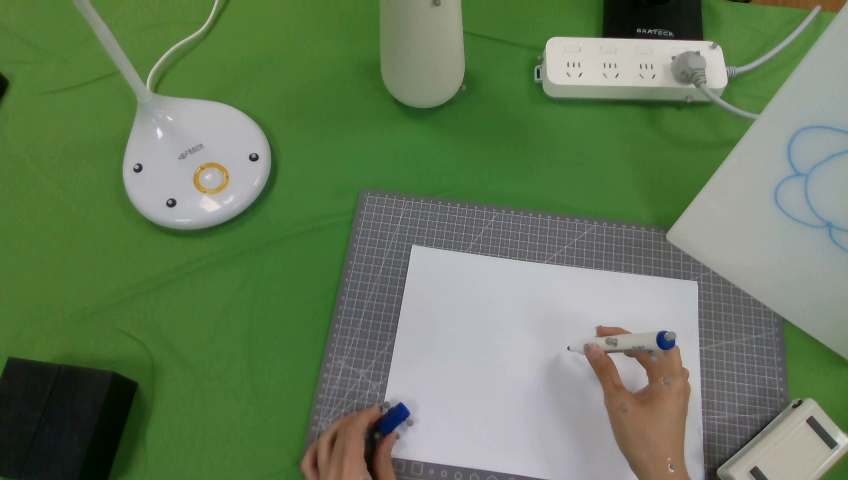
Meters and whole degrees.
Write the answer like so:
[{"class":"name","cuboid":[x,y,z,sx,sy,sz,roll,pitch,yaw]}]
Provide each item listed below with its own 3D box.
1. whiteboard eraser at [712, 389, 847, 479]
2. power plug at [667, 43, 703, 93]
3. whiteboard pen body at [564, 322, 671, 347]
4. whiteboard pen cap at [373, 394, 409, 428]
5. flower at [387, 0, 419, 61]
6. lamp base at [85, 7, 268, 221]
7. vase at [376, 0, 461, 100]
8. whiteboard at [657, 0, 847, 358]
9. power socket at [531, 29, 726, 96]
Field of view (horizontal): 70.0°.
[{"class":"whiteboard eraser","cuboid":[0.316,0.187,0.543,0.112,0.042,0.055,-34,70,-13]},{"class":"power plug","cuboid":[0.291,-0.189,0.684,0.035,0.053,0.072,12,74,5]},{"class":"whiteboard pen body","cuboid":[0.161,0.084,0.526,0.017,0.140,0.017,4,77,-19]},{"class":"whiteboard pen cap","cuboid":[-0.030,0.160,0.566,0.033,0.018,0.018,-36,71,-23]},{"class":"flower","cuboid":[0.010,-0.261,0.561,0.044,0.362,0.038,-34,88,-22]},{"class":"lamp base","cuboid":[-0.265,-0.131,0.606,0.178,0.181,0.160,39,72,18]},{"class":"vase","cuboid":[-0.008,-0.238,0.640,0.098,0.201,0.097,-1,66,2]},{"class":"whiteboard","cuboid":[0.406,-0.076,0.546,0.216,0.307,0.143,37,51,16]},{"class":"power socket","cuboid":[0.242,-0.210,0.717,0.227,0.033,0.071,3,68,1]}]
